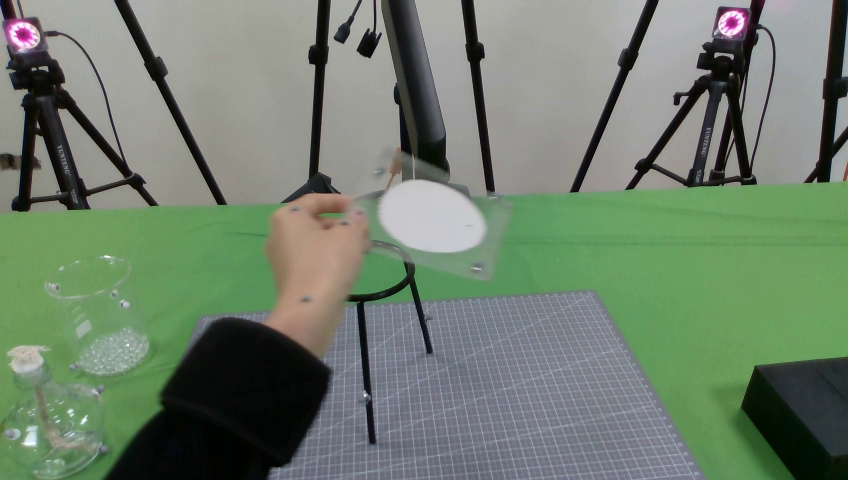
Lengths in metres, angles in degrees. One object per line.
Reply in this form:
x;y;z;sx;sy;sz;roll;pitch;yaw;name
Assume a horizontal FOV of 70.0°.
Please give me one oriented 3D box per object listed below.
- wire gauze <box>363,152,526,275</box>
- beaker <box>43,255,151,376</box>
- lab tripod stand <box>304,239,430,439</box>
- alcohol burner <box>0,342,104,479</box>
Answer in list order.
0.012;-0.025;0.456;0.126;0.011;0.120;14;34;-17;wire gauze
-0.312;0.074;0.591;0.074;0.101;0.083;3;30;5;beaker
-0.052;0.079;0.542;0.148;0.132;0.147;2;32;-1;lab tripod stand
-0.301;0.130;0.480;0.078;0.120;0.077;1;29;0;alcohol burner
